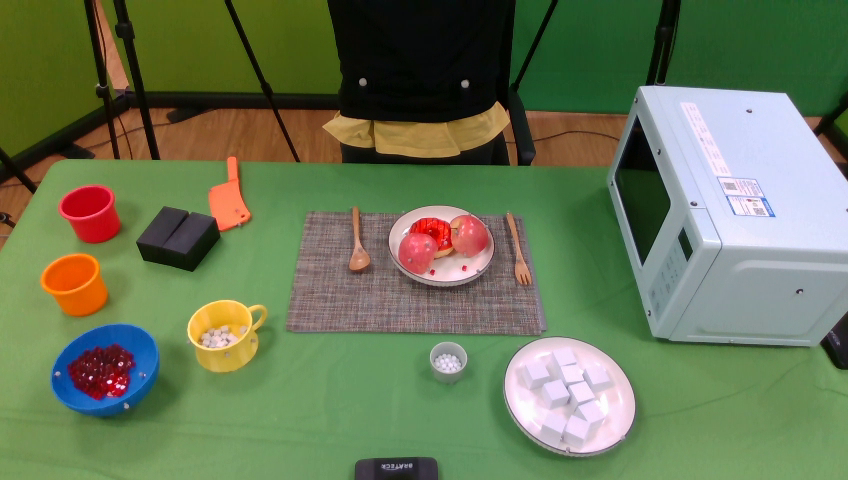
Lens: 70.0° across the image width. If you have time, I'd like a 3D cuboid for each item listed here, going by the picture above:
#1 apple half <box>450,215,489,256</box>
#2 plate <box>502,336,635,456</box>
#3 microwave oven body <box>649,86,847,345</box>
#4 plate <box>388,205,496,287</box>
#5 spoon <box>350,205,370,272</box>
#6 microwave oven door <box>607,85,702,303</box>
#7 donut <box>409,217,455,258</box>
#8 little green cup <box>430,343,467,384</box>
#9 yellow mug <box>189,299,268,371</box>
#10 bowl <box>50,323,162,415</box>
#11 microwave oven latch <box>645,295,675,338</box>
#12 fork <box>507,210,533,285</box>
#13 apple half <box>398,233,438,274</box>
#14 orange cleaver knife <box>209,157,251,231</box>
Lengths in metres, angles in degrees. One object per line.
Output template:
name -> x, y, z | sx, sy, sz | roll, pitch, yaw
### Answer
apple half -> 0.092, -0.013, 1.158 | 0.075, 0.053, 0.080 | 34, 39, -28
plate -> 0.225, 0.248, 0.964 | 0.208, 0.039, 0.206 | 2, 46, -2
microwave oven body -> 0.568, -0.053, 1.118 | 0.326, 0.261, 0.439 | 2, 45, -1
plate -> 0.033, 0.014, 1.171 | 0.209, 0.038, 0.208 | 2, 46, -2
spoon -> -0.130, -0.008, 1.190 | 0.041, 0.022, 0.192 | -22, 47, 11
microwave oven door -> 0.423, -0.094, 1.140 | 0.039, 0.245, 0.353 | 2, 46, -1
donut -> 0.020, -0.006, 1.174 | 0.099, 0.048, 0.098 | 2, 44, -2
little green cup -> 0.039, 0.203, 0.994 | 0.061, 0.039, 0.061 | 2, 46, -2
yellow mug -> -0.316, 0.148, 1.002 | 0.131, 0.064, 0.099 | -33, 56, -31
bowl -> -0.472, 0.209, 0.924 | 0.151, 0.077, 0.150 | 3, 45, -2
microwave oven latch -> 0.412, 0.134, 1.061 | 0.030, 0.029, 0.078 | 3, 45, 0
fork -> 0.185, 0.012, 1.197 | 0.028, 0.019, 0.206 | -6, 48, 1
apple half -> -0.016, 0.022, 1.123 | 0.081, 0.033, 0.081 | -2, 83, 14
orange cleaver knife -> -0.409, -0.099, 1.266 | 0.077, 0.012, 0.210 | -14, 50, -10
